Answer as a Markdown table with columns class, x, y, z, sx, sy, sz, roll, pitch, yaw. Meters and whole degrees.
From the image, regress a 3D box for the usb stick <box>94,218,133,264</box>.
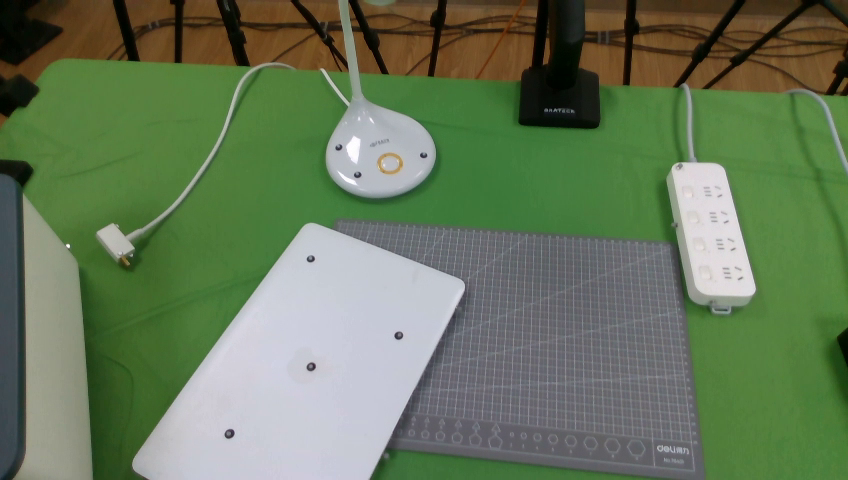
| class | x | y | z | sx | sy | sz | roll | pitch | yaw |
| --- | --- | --- | --- | --- | --- | --- | --- | --- | --- |
| usb stick | -0.402 | 0.003 | 0.792 | 0.027 | 0.021 | 0.059 | -37 | 92 | -37 |

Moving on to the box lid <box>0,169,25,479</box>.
| class | x | y | z | sx | sy | sz | roll | pitch | yaw |
| --- | --- | --- | --- | --- | --- | --- | --- | --- | --- |
| box lid | -0.515 | 0.095 | 0.569 | 0.263 | 0.015 | 0.367 | -19 | 58 | -10 |

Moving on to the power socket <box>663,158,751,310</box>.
| class | x | y | z | sx | sy | sz | roll | pitch | yaw |
| --- | --- | --- | --- | --- | --- | --- | --- | --- | --- |
| power socket | 0.357 | -0.018 | 0.773 | 0.072 | 0.033 | 0.224 | 3 | 56 | 3 |

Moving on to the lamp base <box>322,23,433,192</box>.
| class | x | y | z | sx | sy | sz | roll | pitch | yaw |
| --- | --- | --- | --- | --- | --- | --- | --- | --- | --- |
| lamp base | -0.078 | -0.185 | 0.817 | 0.161 | 0.182 | 0.177 | -29 | 56 | -16 |

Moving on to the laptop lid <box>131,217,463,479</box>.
| class | x | y | z | sx | sy | sz | roll | pitch | yaw |
| --- | --- | --- | --- | --- | --- | --- | --- | --- | --- |
| laptop lid | -0.129 | 0.139 | 0.686 | 0.240 | 0.013 | 0.355 | 23 | 60 | 15 |

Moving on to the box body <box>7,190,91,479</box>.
| class | x | y | z | sx | sy | sz | roll | pitch | yaw |
| --- | --- | --- | --- | --- | --- | --- | --- | --- | --- |
| box body | -0.512 | 0.138 | 0.629 | 0.254 | 0.162 | 0.360 | -19 | 57 | -10 |

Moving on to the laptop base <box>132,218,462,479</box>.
| class | x | y | z | sx | sy | sz | roll | pitch | yaw |
| --- | --- | --- | --- | --- | --- | --- | --- | --- | --- |
| laptop base | -0.130 | 0.145 | 0.696 | 0.234 | 0.023 | 0.352 | 22 | 60 | 13 |
